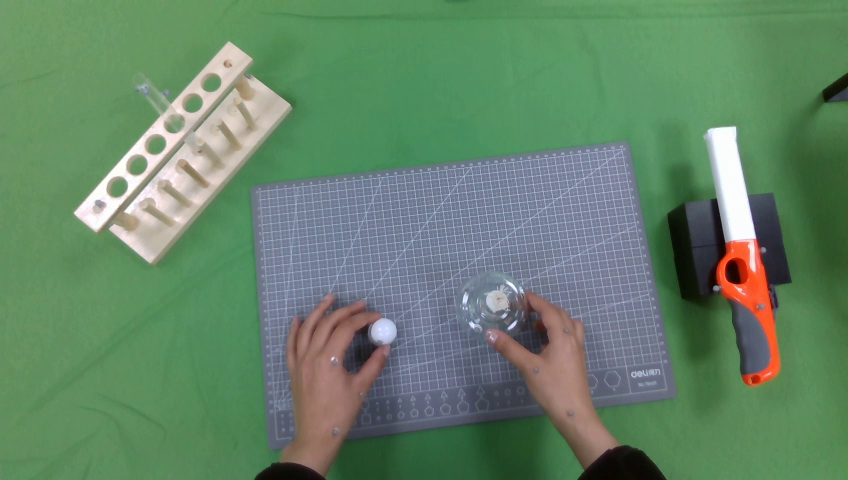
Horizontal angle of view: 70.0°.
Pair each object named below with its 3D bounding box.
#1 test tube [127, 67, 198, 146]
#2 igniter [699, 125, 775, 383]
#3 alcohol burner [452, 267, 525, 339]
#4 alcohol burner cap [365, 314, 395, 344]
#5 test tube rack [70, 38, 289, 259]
[{"bbox_3d":[-0.266,-0.134,0.630,0.017,0.151,0.017,0,74,1],"label":"test tube"},{"bbox_3d":[0.330,0.010,0.642,0.057,0.025,0.275,-4,78,1],"label":"igniter"},{"bbox_3d":[0.069,0.064,0.631,0.078,0.119,0.077,0,79,-1],"label":"alcohol burner"},{"bbox_3d":[-0.047,0.096,0.659,0.034,0.048,0.033,1,80,-4],"label":"alcohol burner cap"},{"bbox_3d":[-0.262,-0.098,0.673,0.066,0.085,0.242,38,82,7],"label":"test tube rack"}]
